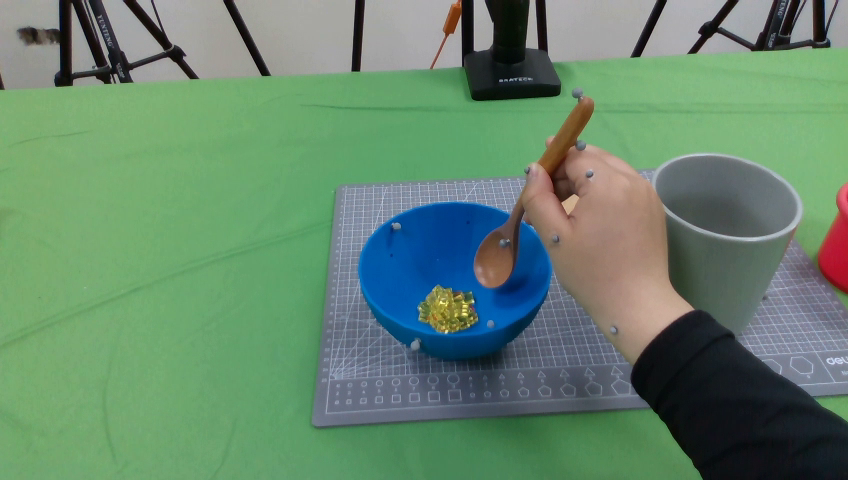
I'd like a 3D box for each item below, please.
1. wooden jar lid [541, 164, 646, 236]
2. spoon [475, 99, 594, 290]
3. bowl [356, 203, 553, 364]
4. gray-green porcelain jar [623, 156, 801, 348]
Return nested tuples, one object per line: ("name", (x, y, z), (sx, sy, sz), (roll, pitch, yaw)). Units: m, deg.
("wooden jar lid", (0.175, -0.040, 0.625), (0.108, 0.021, 0.107), (-1, 41, 2))
("spoon", (0.071, -0.022, 0.421), (0.022, 0.195, 0.041), (-12, 61, -20))
("bowl", (0.024, 0.047, 0.490), (0.151, 0.077, 0.150), (-1, 42, 1))
("gray-green porcelain jar", (0.219, 0.014, 0.482), (0.106, 0.127, 0.105), (-1, 42, 2))
